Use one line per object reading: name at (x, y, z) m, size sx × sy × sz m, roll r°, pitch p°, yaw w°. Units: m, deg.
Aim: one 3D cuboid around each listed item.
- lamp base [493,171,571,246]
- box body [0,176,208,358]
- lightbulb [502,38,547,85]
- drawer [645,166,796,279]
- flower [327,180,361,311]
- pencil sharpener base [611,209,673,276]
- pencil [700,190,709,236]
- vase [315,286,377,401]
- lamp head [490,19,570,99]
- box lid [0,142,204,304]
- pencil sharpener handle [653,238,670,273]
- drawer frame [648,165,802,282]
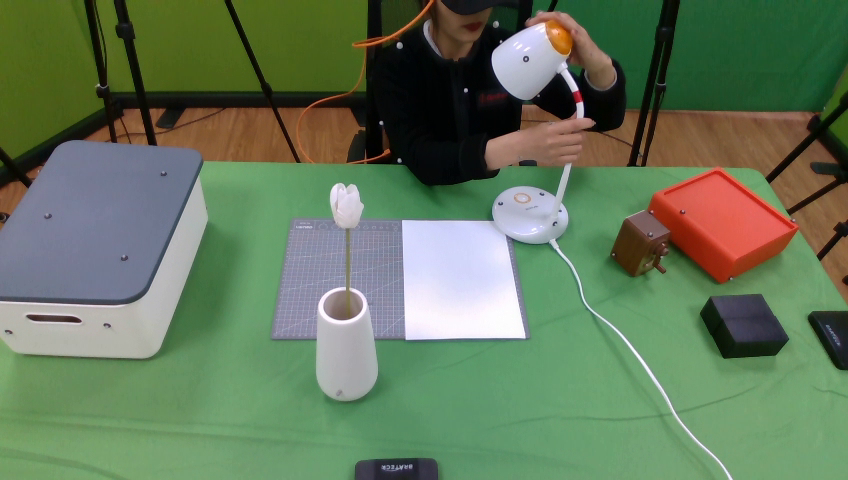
lamp base at (0.235, -0.099, 1.196) m, size 0.161 × 0.181 × 0.178 m, roll -24°, pitch 57°, yaw -24°
box body at (-0.546, 0.017, 1.045) m, size 0.254 × 0.161 × 0.361 m, roll 2°, pitch 46°, yaw -2°
lightbulb at (0.180, -0.318, 1.071) m, size 0.060 × 0.108 × 0.059 m, roll 11°, pitch 64°, yaw -24°
drawer at (0.600, -0.040, 1.237) m, size 0.195 × 0.073 × 0.210 m, roll -21°, pitch 52°, yaw -23°
flower at (-0.110, 0.086, 0.867) m, size 0.044 × 0.363 × 0.038 m, roll 22°, pitch 33°, yaw 36°
pencil sharpener base at (0.416, 0.007, 1.158) m, size 0.061 × 0.107 × 0.076 m, roll -21°, pitch 51°, yaw -22°
pencil at (0.583, -0.058, 1.257) m, size 0.012 × 0.012 × 0.193 m, roll 16°, pitch 35°, yaw 12°
vase at (-0.119, 0.159, 0.911) m, size 0.098 × 0.201 × 0.097 m, roll 2°, pitch 47°, yaw -2°
lamp head at (0.195, -0.319, 1.050) m, size 0.113 × 0.123 × 0.112 m, roll 16°, pitch 63°, yaw -35°
box lid at (-0.534, -0.044, 0.995) m, size 0.263 × 0.015 × 0.369 m, roll 3°, pitch 45°, yaw -3°
pencil sharpener handle at (0.444, 0.030, 1.120) m, size 0.036 × 0.068 × 0.030 m, roll -25°, pitch 52°, yaw -18°
drawer frame at (0.603, -0.040, 1.233) m, size 0.202 × 0.083 × 0.212 m, roll -21°, pitch 51°, yaw -23°
